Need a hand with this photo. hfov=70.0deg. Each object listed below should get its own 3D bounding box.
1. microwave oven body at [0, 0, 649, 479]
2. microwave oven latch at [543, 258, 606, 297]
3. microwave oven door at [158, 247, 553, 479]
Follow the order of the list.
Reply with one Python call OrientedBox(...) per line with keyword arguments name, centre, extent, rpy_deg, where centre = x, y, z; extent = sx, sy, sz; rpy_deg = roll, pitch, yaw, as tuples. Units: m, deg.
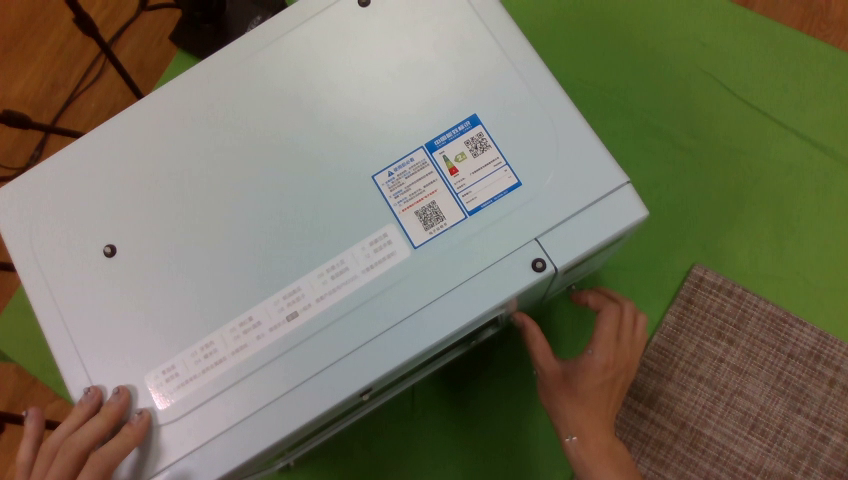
OrientedBox(name="microwave oven body", centre=(-0.087, -0.017, 0.581), extent=(0.442, 0.261, 0.324), rpy_deg=(-32, 77, 1))
OrientedBox(name="microwave oven latch", centre=(0.152, 0.030, 0.640), extent=(0.079, 0.029, 0.030), rpy_deg=(-30, 77, 2))
OrientedBox(name="microwave oven door", centre=(-0.049, 0.125, 0.543), extent=(0.356, 0.245, 0.039), rpy_deg=(-32, 76, 0))
